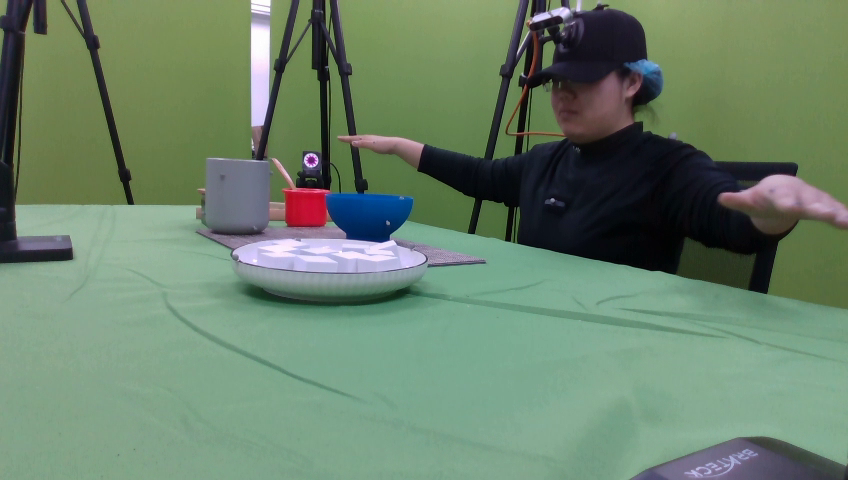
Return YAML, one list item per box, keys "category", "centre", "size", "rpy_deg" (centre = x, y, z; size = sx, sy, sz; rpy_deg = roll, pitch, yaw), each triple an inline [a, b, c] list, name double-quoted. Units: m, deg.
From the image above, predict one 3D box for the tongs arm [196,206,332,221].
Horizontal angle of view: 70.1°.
- category: "tongs arm"
  centre: [-0.294, -0.058, 1.330]
  size: [0.389, 0.028, 0.028]
  rpy_deg: [0, 5, -20]

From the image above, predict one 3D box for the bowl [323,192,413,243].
- category: "bowl"
  centre: [-0.094, -0.037, 1.015]
  size: [0.151, 0.077, 0.151]
  rpy_deg: [3, 7, 0]

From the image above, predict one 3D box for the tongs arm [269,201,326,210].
- category: "tongs arm"
  centre: [-0.308, -0.073, 1.410]
  size: [0.386, 0.026, 0.050]
  rpy_deg: [3, 8, -6]

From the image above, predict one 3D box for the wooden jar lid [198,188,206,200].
- category: "wooden jar lid"
  centre: [-0.382, -0.088, 1.175]
  size: [0.108, 0.020, 0.108]
  rpy_deg: [3, 8, 0]

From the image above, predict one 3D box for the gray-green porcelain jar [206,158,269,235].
- category: "gray-green porcelain jar"
  centre: [-0.322, -0.076, 1.048]
  size: [0.106, 0.126, 0.106]
  rpy_deg: [3, 7, 0]

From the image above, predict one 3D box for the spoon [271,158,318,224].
- category: "spoon"
  centre: [-0.268, -0.103, 1.236]
  size: [0.042, 0.193, 0.021]
  rpy_deg: [-9, -32, -40]

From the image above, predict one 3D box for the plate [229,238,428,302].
- category: "plate"
  centre: [-0.099, 0.032, 0.651]
  size: [0.209, 0.038, 0.209]
  rpy_deg: [3, 8, 0]
